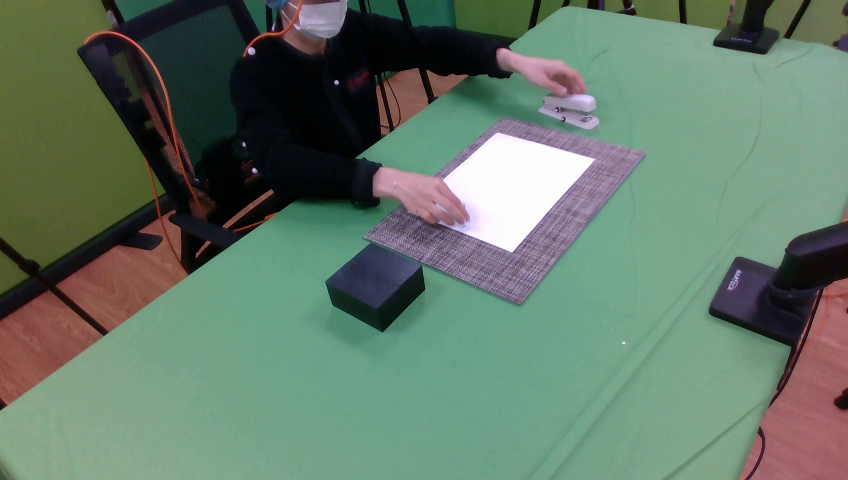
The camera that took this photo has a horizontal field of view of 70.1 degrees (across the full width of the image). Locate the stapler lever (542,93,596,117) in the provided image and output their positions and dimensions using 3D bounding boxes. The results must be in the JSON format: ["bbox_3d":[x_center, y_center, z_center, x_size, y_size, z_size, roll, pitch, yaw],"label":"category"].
[{"bbox_3d":[0.292,-0.280,1.218,0.027,0.040,0.117,-34,46,-29],"label":"stapler lever"}]

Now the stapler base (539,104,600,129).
[{"bbox_3d":[0.297,-0.261,1.233,0.041,0.024,0.129,-34,45,-29],"label":"stapler base"}]
